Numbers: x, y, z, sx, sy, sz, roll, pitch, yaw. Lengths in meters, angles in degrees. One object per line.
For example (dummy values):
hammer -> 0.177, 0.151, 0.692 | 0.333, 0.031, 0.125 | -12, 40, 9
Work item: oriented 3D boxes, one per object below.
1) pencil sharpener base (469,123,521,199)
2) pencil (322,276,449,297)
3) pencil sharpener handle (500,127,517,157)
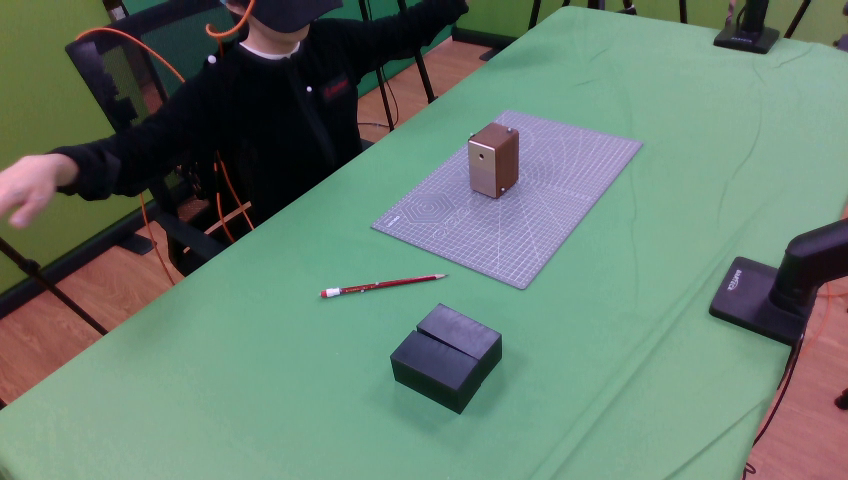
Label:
pencil sharpener base -> 0.126, -0.138, 1.050 | 0.061, 0.107, 0.077 | 24, 50, 33
pencil -> -0.058, 0.069, 0.916 | 0.194, 0.012, 0.012 | -8, 40, -3
pencil sharpener handle -> 0.154, -0.178, 1.072 | 0.036, 0.068, 0.031 | 36, 55, 20
